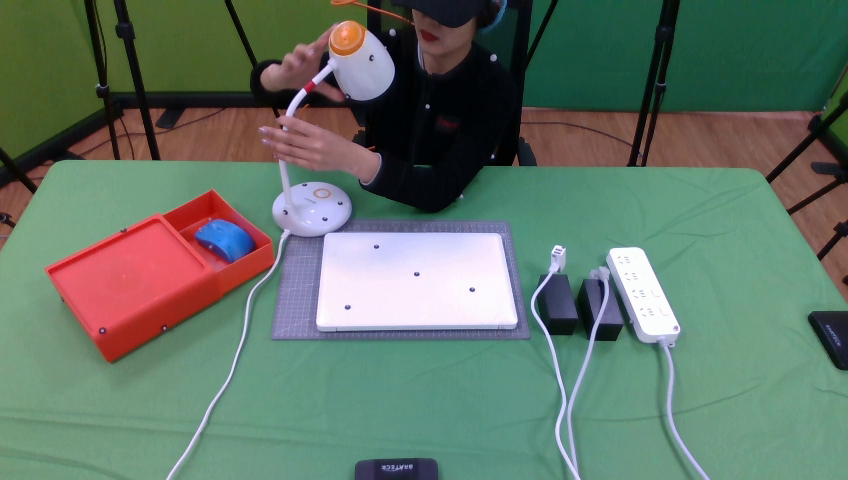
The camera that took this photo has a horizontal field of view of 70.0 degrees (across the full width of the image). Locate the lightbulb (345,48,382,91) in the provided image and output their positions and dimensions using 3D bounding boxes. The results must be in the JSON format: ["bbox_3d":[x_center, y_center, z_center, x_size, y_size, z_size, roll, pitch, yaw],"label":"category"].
[{"bbox_3d":[-0.113,-0.311,1.095,0.059,0.108,0.059,-4,75,15],"label":"lightbulb"}]

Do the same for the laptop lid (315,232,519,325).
[{"bbox_3d":[-0.015,0.065,1.118,0.357,0.013,0.240,1,43,-3],"label":"laptop lid"}]

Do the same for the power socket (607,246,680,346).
[{"bbox_3d":[0.403,0.096,1.123,0.072,0.033,0.225,-3,46,-5],"label":"power socket"}]

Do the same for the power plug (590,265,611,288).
[{"bbox_3d":[0.318,0.073,1.108,0.035,0.053,0.072,26,34,13],"label":"power plug"}]

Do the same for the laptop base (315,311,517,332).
[{"bbox_3d":[-0.016,0.075,1.125,0.355,0.023,0.234,0,42,-4],"label":"laptop base"}]

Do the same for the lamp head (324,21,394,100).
[{"bbox_3d":[-0.124,-0.324,1.075,0.112,0.123,0.112,-4,75,16],"label":"lamp head"}]

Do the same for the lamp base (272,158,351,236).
[{"bbox_3d":[-0.232,-0.112,1.177,0.160,0.181,0.178,18,49,15],"label":"lamp base"}]

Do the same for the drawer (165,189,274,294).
[{"bbox_3d":[-0.418,0.021,1.109,0.193,0.073,0.211,37,55,27],"label":"drawer"}]

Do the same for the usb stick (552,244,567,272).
[{"bbox_3d":[0.251,0.039,1.124,0.021,0.059,0.027,14,47,25],"label":"usb stick"}]

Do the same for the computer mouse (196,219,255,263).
[{"bbox_3d":[-0.380,-0.004,1.154,0.116,0.041,0.062,28,52,27],"label":"computer mouse"}]

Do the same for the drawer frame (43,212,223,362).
[{"bbox_3d":[-0.497,0.073,1.049,0.213,0.083,0.200,-35,57,-31],"label":"drawer frame"}]
